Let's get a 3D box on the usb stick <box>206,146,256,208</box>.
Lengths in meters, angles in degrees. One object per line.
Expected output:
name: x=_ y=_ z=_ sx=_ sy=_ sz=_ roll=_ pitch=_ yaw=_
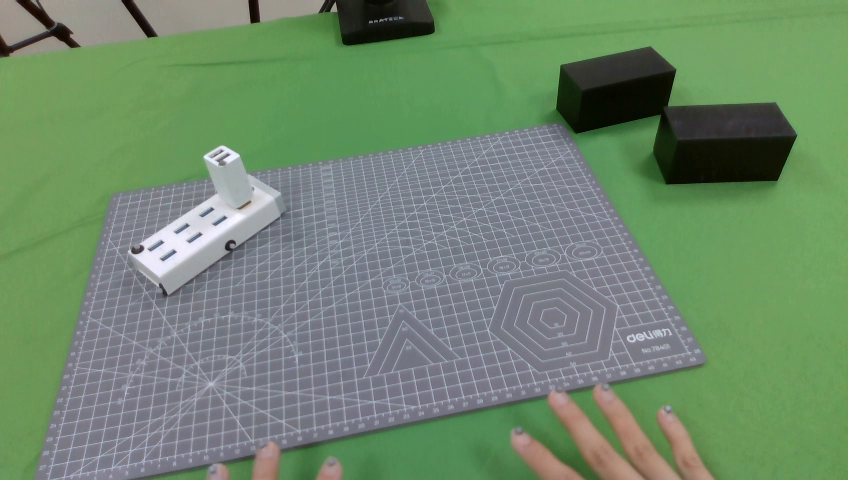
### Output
usb stick: x=-0.161 y=-0.048 z=0.513 sx=0.027 sy=0.060 sz=0.021 roll=25 pitch=53 yaw=31

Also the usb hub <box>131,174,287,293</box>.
usb hub: x=-0.182 y=-0.009 z=0.521 sx=0.049 sy=0.025 sz=0.125 roll=29 pitch=54 yaw=30
